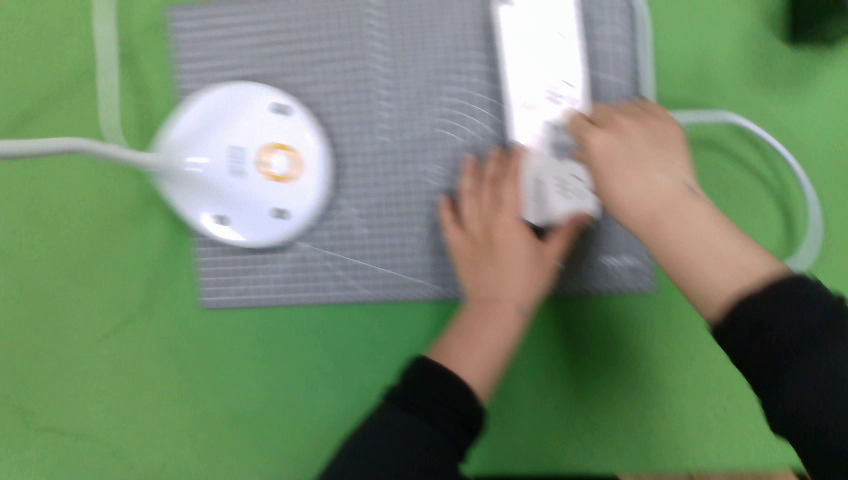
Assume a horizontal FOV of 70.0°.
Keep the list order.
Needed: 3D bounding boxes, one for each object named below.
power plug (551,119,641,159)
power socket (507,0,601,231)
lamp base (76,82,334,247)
[{"bbox_3d":[0.152,-0.089,0.550,0.072,0.052,0.035,9,93,-1],"label":"power plug"},{"bbox_3d":[0.121,-0.121,0.568,0.072,0.032,0.226,-5,92,3],"label":"power socket"},{"bbox_3d":[-0.185,-0.069,0.517,0.179,0.180,0.160,-8,91,7],"label":"lamp base"}]
